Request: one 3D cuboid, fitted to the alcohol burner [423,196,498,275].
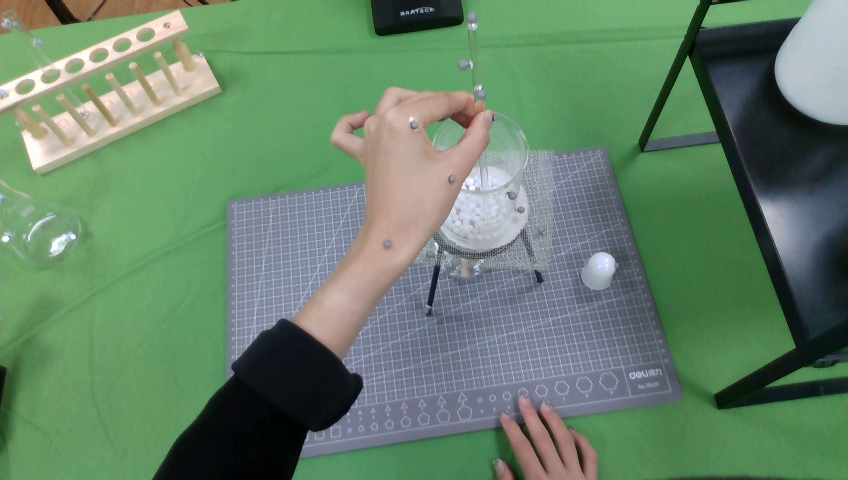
[{"bbox_3d":[0.038,-0.011,0.617,0.078,0.120,0.077,0,64,1],"label":"alcohol burner"}]

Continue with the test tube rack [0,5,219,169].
[{"bbox_3d":[-0.386,-0.184,0.733,0.242,0.086,0.066,-28,67,-9],"label":"test tube rack"}]

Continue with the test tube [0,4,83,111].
[{"bbox_3d":[-0.432,-0.202,0.689,0.017,0.151,0.017,-1,59,2],"label":"test tube"}]

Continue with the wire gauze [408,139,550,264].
[{"bbox_3d":[0.052,-0.036,0.544,0.121,0.011,0.124,5,65,2],"label":"wire gauze"}]

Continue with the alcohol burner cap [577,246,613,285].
[{"bbox_3d":[0.180,0.023,0.633,0.034,0.048,0.033,-1,65,3],"label":"alcohol burner cap"}]

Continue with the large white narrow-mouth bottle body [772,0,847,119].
[{"bbox_3d":[0.343,-0.180,0.439,0.102,0.196,0.101,-2,66,4],"label":"large white narrow-mouth bottle body"}]

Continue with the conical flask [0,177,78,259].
[{"bbox_3d":[-0.440,-0.035,0.649,0.075,0.123,0.075,-1,65,3],"label":"conical flask"}]

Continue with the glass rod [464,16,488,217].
[{"bbox_3d":[0.038,-0.075,0.436,0.008,0.201,0.008,-4,57,6],"label":"glass rod"}]

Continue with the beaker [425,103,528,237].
[{"bbox_3d":[0.040,-0.050,0.498,0.084,0.101,0.073,-30,68,-10],"label":"beaker"}]

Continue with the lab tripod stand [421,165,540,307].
[{"bbox_3d":[0.050,-0.004,0.602,0.148,0.132,0.147,0,64,1],"label":"lab tripod stand"}]
